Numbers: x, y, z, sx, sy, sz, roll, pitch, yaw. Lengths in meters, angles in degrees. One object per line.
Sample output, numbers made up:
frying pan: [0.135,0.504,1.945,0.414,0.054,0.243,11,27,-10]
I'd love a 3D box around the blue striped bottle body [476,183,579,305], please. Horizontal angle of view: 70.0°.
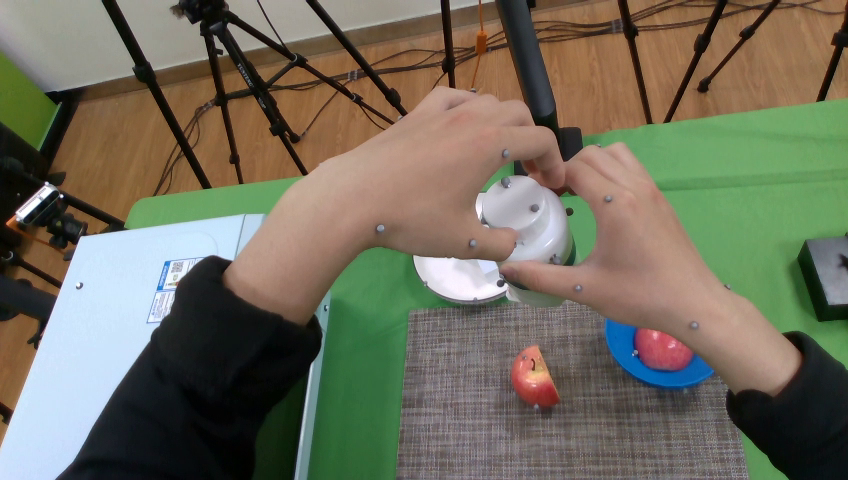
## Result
blue striped bottle body: [0.078,0.000,0.451,0.063,0.122,0.062,-9,62,17]

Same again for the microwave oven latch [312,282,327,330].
microwave oven latch: [-0.175,0.107,0.983,0.030,0.030,0.078,-7,58,12]

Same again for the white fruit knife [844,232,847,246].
white fruit knife: [0.562,0.087,0.754,0.016,0.027,0.206,-20,70,26]

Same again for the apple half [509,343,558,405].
apple half: [0.144,0.189,0.826,0.053,0.075,0.080,-24,59,7]

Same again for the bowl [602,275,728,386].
bowl: [0.315,0.131,0.805,0.151,0.077,0.150,-8,57,13]

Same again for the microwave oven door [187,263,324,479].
microwave oven door: [-0.210,0.239,0.786,0.039,0.246,0.352,-7,57,14]

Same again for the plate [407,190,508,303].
plate: [0.077,0.013,0.985,0.207,0.039,0.205,-8,57,13]

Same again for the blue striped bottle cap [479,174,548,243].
blue striped bottle cap: [0.060,-0.021,0.407,0.044,0.021,0.044,-10,59,17]

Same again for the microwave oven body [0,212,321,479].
microwave oven body: [-0.349,0.224,0.845,0.325,0.263,0.437,-7,58,13]

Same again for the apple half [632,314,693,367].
apple half: [0.315,0.129,0.800,0.081,0.033,0.080,-9,56,13]
